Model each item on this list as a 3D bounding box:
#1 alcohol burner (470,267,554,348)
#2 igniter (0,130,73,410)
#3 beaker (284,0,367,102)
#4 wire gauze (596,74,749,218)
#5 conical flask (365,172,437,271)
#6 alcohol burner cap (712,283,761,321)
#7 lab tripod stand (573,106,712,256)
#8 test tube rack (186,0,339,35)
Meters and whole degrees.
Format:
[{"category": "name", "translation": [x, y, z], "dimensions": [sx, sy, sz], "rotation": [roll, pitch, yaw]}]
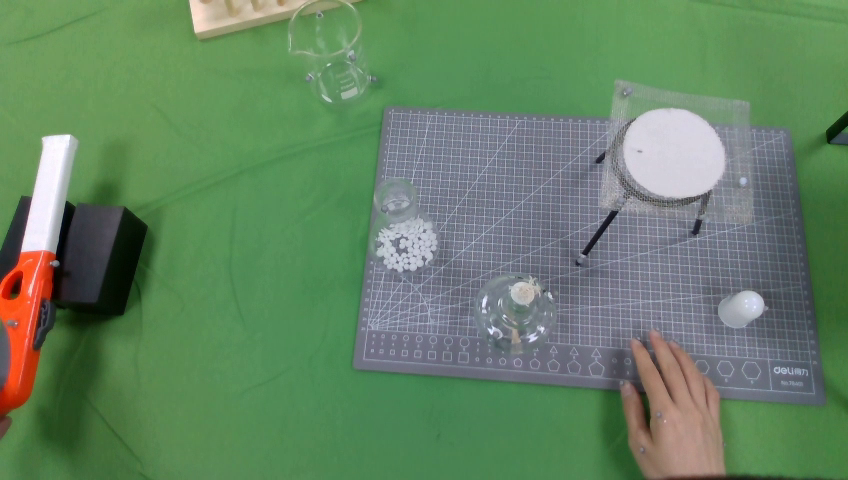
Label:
[{"category": "alcohol burner", "translation": [0.082, 0.057, 0.551], "dimensions": [0.078, 0.120, 0.077], "rotation": [0, 69, 0]}, {"category": "igniter", "translation": [-0.372, 0.020, 0.574], "dimensions": [0.057, 0.025, 0.274], "rotation": [-4, 69, 4]}, {"category": "beaker", "translation": [-0.104, -0.203, 0.657], "dimensions": [0.084, 0.101, 0.073], "rotation": [-37, 73, -10]}, {"category": "wire gauze", "translation": [0.212, -0.081, 0.513], "dimensions": [0.121, 0.011, 0.124], "rotation": [9, 72, 3]}, {"category": "conical flask", "translation": [-0.026, -0.022, 0.576], "dimensions": [0.075, 0.122, 0.075], "rotation": [-1, 70, 2]}, {"category": "alcohol burner cap", "translation": [0.303, 0.057, 0.583], "dimensions": [0.034, 0.048, 0.033], "rotation": [-1, 71, 2]}, {"category": "lab tripod stand", "translation": [0.206, -0.054, 0.576], "dimensions": [0.148, 0.132, 0.147], "rotation": [0, 69, 0]}, {"category": "test tube rack", "translation": [-0.169, -0.321, 0.707], "dimensions": [0.242, 0.086, 0.066], "rotation": [-15, 71, -4]}]
